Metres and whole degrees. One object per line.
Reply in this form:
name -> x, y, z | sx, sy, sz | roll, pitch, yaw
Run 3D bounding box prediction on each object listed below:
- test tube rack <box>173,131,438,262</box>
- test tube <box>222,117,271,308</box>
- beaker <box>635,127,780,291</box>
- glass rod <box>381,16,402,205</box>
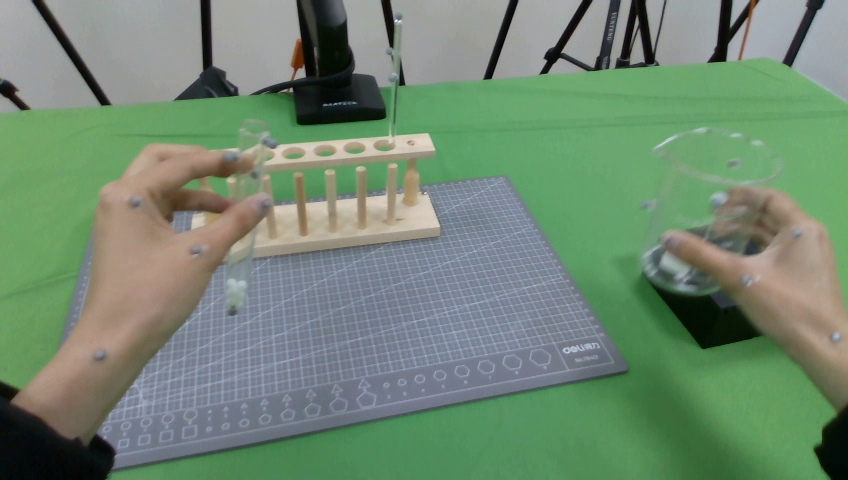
test tube rack -> -0.110, -0.045, 0.595 | 0.243, 0.086, 0.066 | -7, 41, -11
test tube -> -0.112, -0.010, 0.375 | 0.017, 0.151, 0.017 | 13, 40, -11
beaker -> 0.194, -0.020, 0.436 | 0.083, 0.101, 0.073 | 15, 40, 20
glass rod -> -0.033, -0.113, 0.575 | 0.008, 0.201, 0.008 | 5, 41, -4
